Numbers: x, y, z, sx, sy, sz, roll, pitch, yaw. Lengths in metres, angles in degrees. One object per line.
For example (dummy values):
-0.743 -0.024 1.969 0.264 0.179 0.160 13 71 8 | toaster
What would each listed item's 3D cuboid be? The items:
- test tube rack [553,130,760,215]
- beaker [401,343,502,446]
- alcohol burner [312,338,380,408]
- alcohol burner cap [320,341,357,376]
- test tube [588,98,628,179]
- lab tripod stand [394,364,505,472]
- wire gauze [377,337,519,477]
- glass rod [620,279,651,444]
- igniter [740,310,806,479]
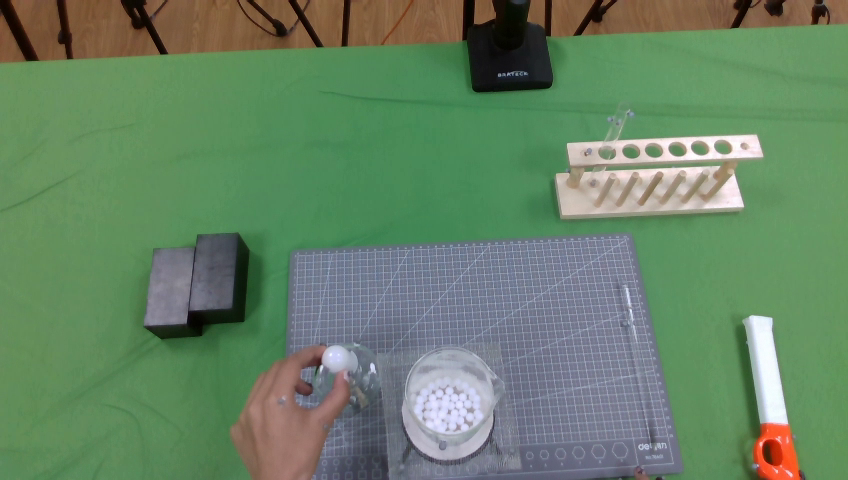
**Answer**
0.300 -0.087 0.791 0.242 0.086 0.066 -3 65 -1 | test tube rack
0.023 0.139 0.533 0.084 0.101 0.073 -8 65 -3 | beaker
-0.088 0.142 0.669 0.078 0.120 0.077 0 63 1 | alcohol burner
-0.089 0.120 0.619 0.034 0.048 0.033 -2 71 5 | alcohol burner cap
0.226 -0.122 0.753 0.017 0.151 0.017 -1 62 1 | test tube
0.021 0.187 0.637 0.148 0.132 0.147 -1 64 2 | lab tripod stand
0.020 0.157 0.579 0.125 0.011 0.120 -7 63 0 | wire gauze
0.254 0.141 0.727 0.008 0.008 0.198 -2 68 -1 | glass rod
0.395 0.213 0.687 0.057 0.025 0.274 8 66 -7 | igniter
